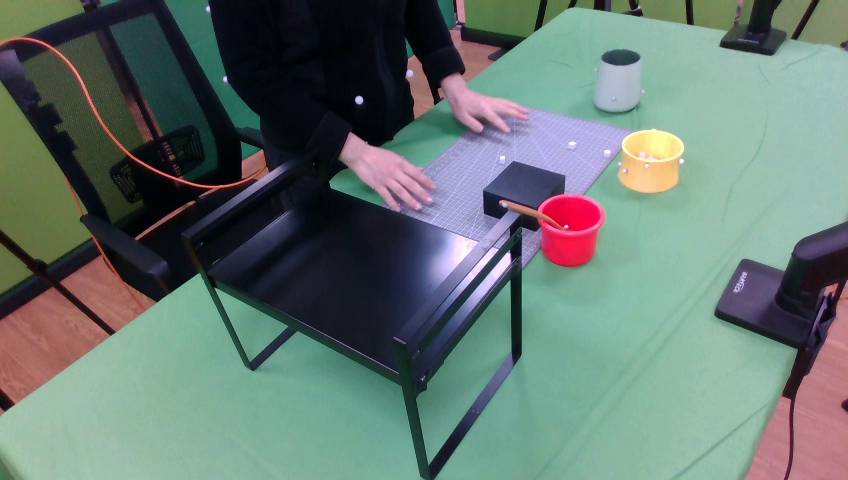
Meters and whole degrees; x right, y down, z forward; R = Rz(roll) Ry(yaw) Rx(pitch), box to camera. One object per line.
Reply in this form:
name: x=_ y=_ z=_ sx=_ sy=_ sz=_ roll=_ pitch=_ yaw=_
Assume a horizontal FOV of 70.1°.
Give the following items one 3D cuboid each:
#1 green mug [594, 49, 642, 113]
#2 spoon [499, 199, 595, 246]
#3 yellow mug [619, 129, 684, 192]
green mug: x=0.397 y=-0.333 z=1.240 sx=0.092 sy=0.105 sz=0.125 roll=-3 pitch=41 yaw=7
spoon: x=0.183 y=-0.028 z=0.888 sx=0.195 sy=0.021 sz=0.041 roll=23 pitch=22 yaw=-33
yellow mug: x=0.396 y=-0.147 z=1.055 sx=0.099 sy=0.064 sz=0.130 roll=6 pitch=42 yaw=16
